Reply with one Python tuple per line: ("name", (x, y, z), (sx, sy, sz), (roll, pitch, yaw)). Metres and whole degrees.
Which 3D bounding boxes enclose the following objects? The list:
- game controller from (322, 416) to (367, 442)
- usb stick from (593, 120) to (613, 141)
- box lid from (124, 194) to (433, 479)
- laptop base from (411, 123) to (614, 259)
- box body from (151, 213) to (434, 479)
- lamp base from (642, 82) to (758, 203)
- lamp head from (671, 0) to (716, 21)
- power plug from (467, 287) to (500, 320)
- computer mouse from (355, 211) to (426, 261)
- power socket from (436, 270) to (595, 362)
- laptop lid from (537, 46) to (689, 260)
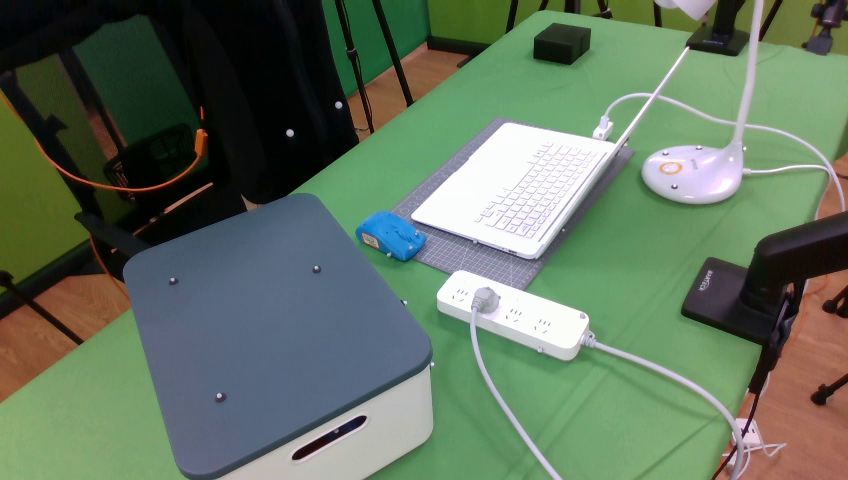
("game controller", (-0.120, 0.158, 0.676), (0.154, 0.052, 0.097), (18, 49, 28))
("usb stick", (0.336, -0.201, 1.146), (0.021, 0.027, 0.059), (26, 53, 27))
("box lid", (-0.182, 0.076, 0.689), (0.264, 0.015, 0.368), (-24, 42, -20))
("laptop base", (0.168, -0.101, 1.073), (0.234, 0.023, 0.355), (17, 46, 30))
("box body", (-0.175, 0.131, 0.738), (0.255, 0.161, 0.360), (-25, 43, -19))
("lamp base", (0.464, -0.174, 0.992), (0.179, 0.181, 0.159), (-5, 41, -1))
("lamp head", (0.375, -0.373, 0.807), (0.122, 0.113, 0.112), (-40, 27, 32))
("power plug", (0.073, 0.092, 0.814), (0.035, 0.053, 0.073), (29, 54, 34))
("computer mouse", (-0.055, -0.010, 0.979), (0.116, 0.041, 0.063), (27, 49, 29))
("power socket", (0.118, 0.101, 0.832), (0.225, 0.033, 0.072), (19, 48, 27))
("laptop lid", (0.293, -0.136, 0.927), (0.013, 0.241, 0.357), (35, 51, 10))
